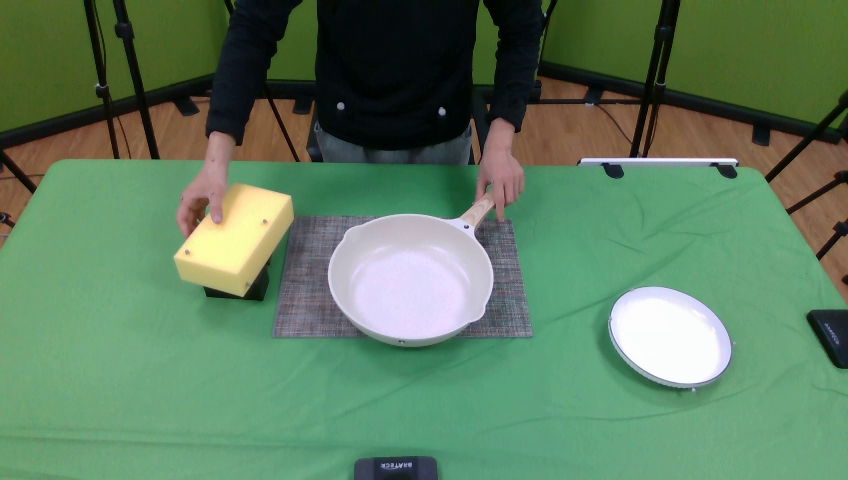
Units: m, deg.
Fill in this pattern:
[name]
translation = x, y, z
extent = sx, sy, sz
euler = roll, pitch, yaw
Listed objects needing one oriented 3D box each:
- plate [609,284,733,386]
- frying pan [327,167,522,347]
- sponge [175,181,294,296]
[plate]
translation = 0.425, 0.167, 1.059
extent = 0.208, 0.039, 0.206
euler = 2, 46, -2
[frying pan]
translation = 0.042, 0.009, 1.132
extent = 0.305, 0.103, 0.487
euler = 34, 61, 24
[sponge]
translation = -0.332, -0.007, 1.086
extent = 0.118, 0.061, 0.206
euler = 13, 47, 9
